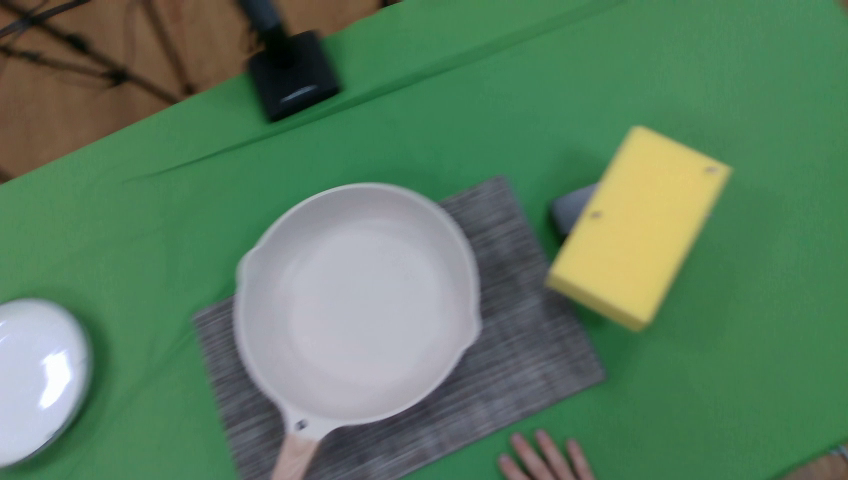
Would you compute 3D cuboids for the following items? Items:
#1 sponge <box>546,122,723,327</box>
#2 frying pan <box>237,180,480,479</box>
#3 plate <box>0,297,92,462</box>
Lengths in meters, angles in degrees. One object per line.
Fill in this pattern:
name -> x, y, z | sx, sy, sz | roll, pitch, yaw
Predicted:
sponge -> 0.242, -0.019, 0.704 | 0.118, 0.061, 0.206 | 28, 77, 13
frying pan -> -0.113, 0.161, 0.711 | 0.306, 0.103, 0.485 | 16, 67, 12
plate -> -0.526, 0.179, 0.786 | 0.207, 0.039, 0.206 | -1, 73, 5
